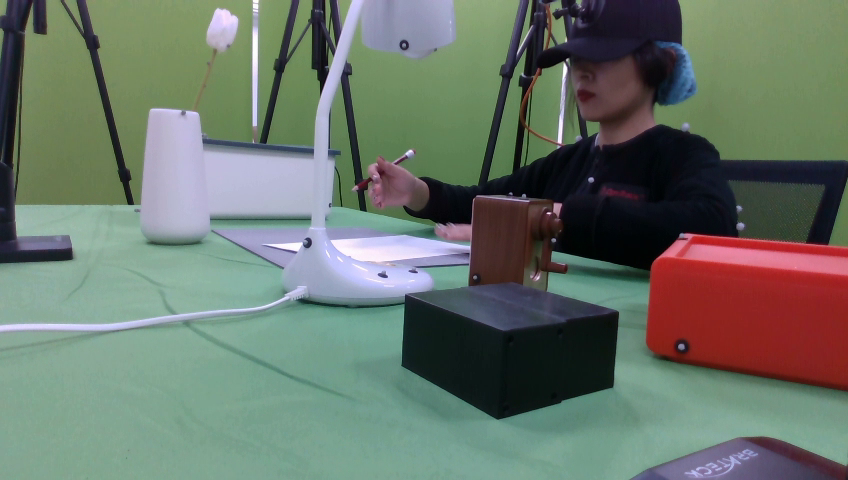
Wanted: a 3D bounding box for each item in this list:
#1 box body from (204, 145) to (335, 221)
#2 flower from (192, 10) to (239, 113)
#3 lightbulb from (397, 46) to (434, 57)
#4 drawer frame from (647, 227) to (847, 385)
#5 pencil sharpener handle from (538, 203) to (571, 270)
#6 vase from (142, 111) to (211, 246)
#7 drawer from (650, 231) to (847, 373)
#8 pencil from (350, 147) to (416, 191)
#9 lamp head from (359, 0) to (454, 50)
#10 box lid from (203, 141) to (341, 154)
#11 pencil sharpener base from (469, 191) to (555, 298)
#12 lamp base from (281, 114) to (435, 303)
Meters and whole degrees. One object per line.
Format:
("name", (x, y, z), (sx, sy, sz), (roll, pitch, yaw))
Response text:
("box body", (-0.411, -0.135, 1.386), (0.366, 0.160, 0.253), (-2, 9, -29))
("flower", (-0.354, -0.174, 0.915), (0.038, 0.361, 0.044), (18, -3, 12))
("lightbulb", (-0.017, -0.264, 0.692), (0.059, 0.108, 0.059), (-9, 28, 5))
("drawer frame", (0.303, 0.043, 0.495), (0.201, 0.082, 0.214), (6, 9, 26))
("pencil sharpener handle", (0.137, -0.003, 0.619), (0.030, 0.067, 0.036), (8, 6, 38))
("vase", (-0.378, -0.093, 0.920), (0.098, 0.200, 0.098), (2, 9, 0))
("drawer", (0.303, 0.044, 0.499), (0.194, 0.073, 0.212), (7, 10, 27))
("pencil", (-0.070, -0.125, 1.060), (0.012, 0.012, 0.194), (7, 31, 34))
("lamp head", (-0.024, -0.283, 0.674), (0.112, 0.123, 0.112), (-3, 38, 3))
("box lid", (-0.396, -0.212, 1.373), (0.373, 0.015, 0.262), (-1, 9, -29))
("pencil sharpener base", (0.097, 0.003, 0.652), (0.076, 0.107, 0.061), (8, 9, 37))
("lamp base", (-0.071, -0.035, 0.614), (0.160, 0.180, 0.180), (6, 10, 27))
